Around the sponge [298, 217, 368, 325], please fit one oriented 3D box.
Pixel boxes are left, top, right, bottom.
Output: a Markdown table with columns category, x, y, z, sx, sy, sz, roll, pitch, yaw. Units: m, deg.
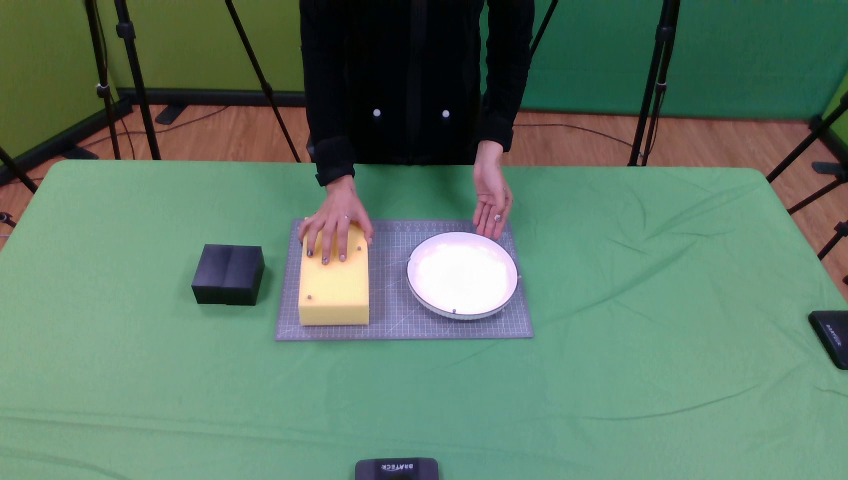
| category | x | y | z | sx | sy | sz | roll | pitch | yaw |
| --- | --- | --- | --- | --- | --- | --- | --- | --- | --- |
| sponge | -0.161 | 0.052 | 1.094 | 0.118 | 0.061 | 0.205 | -1 | 49 | -6 |

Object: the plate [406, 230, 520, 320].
| category | x | y | z | sx | sy | sz | roll | pitch | yaw |
| --- | --- | --- | --- | --- | --- | --- | --- | --- | --- |
| plate | 0.070 | 0.067 | 1.122 | 0.209 | 0.038 | 0.208 | 2 | 46 | -2 |
